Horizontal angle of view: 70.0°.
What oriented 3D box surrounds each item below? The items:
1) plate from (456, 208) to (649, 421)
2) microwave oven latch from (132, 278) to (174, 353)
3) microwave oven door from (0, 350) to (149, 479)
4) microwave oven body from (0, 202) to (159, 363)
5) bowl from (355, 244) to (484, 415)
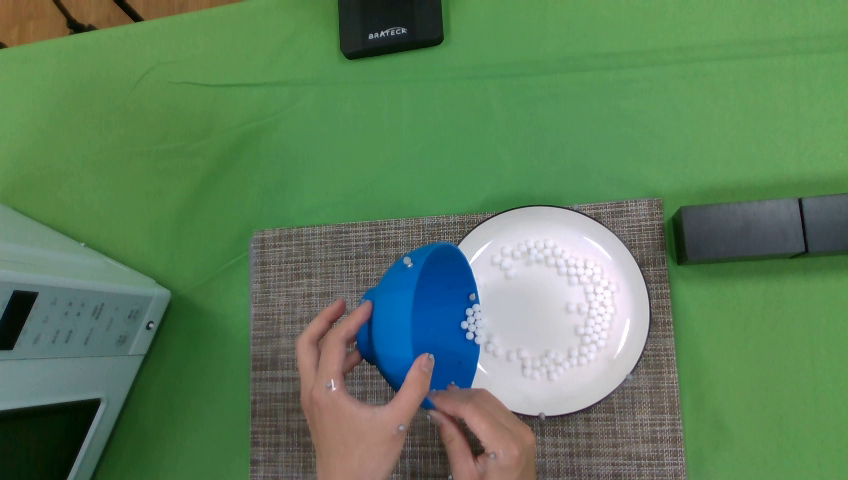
[{"bbox_3d":[0.113,0.073,0.604,0.207,0.039,0.207,-2,81,12],"label":"plate"},{"bbox_3d":[-0.313,0.085,0.683,0.030,0.029,0.079,25,88,15],"label":"microwave oven latch"},{"bbox_3d":[-0.424,0.270,0.575,0.039,0.245,0.355,22,87,16],"label":"microwave oven door"},{"bbox_3d":[-0.536,0.178,0.619,0.324,0.261,0.441,23,88,14],"label":"microwave oven body"},{"bbox_3d":[-0.010,0.080,0.550,0.076,0.152,0.151,-3,80,27],"label":"bowl"}]
